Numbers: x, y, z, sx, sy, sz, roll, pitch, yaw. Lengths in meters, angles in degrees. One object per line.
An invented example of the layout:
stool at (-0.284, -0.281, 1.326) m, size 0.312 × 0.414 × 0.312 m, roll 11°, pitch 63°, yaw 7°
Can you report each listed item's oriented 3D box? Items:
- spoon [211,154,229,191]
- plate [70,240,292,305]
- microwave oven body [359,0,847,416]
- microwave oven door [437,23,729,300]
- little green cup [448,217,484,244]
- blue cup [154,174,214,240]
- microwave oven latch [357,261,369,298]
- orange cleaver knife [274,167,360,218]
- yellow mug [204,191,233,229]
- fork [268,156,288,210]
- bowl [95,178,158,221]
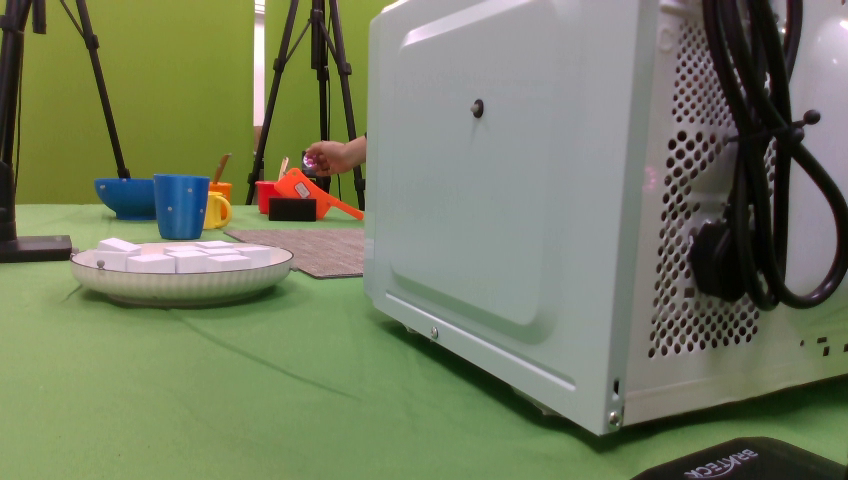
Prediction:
spoon at (-0.431, -0.115, 1.253) m, size 0.042 × 0.193 × 0.021 m, roll -3°, pitch 54°, yaw -33°
plate at (-0.242, 0.031, 0.618) m, size 0.208 × 0.039 × 0.207 m, roll 2°, pitch 8°, yaw 0°
microwave oven body at (0.211, -0.047, 0.474) m, size 0.444 × 0.260 × 0.324 m, roll -1°, pitch 7°, yaw -28°
microwave oven door at (0.181, -0.072, 0.621) m, size 0.358 × 0.243 × 0.039 m, roll -2°, pitch 9°, yaw -29°
little green cup at (0.070, -0.016, 1.029) m, size 0.061 × 0.038 × 0.061 m, roll 5°, pitch 10°, yaw -1°
blue cup at (-0.390, -0.053, 0.978) m, size 0.093 × 0.100 × 0.092 m, roll 3°, pitch 6°, yaw 0°
microwave oven latch at (-0.019, 0.033, 0.530) m, size 0.079 × 0.029 × 0.030 m, roll 0°, pitch 7°, yaw -25°
orange cleaver knife at (-0.238, -0.091, 1.382) m, size 0.212 × 0.077 × 0.012 m, roll 31°, pitch 1°, yaw -19°
yellow mug at (-0.415, -0.057, 1.132) m, size 0.130 × 0.064 × 0.100 m, roll 6°, pitch 8°, yaw 16°
fork at (-0.360, -0.144, 1.508) m, size 0.028 × 0.018 × 0.207 m, roll 1°, pitch 49°, yaw 0°
bowl at (-0.576, -0.081, 1.217) m, size 0.151 × 0.077 × 0.151 m, roll 3°, pitch 8°, yaw 0°
